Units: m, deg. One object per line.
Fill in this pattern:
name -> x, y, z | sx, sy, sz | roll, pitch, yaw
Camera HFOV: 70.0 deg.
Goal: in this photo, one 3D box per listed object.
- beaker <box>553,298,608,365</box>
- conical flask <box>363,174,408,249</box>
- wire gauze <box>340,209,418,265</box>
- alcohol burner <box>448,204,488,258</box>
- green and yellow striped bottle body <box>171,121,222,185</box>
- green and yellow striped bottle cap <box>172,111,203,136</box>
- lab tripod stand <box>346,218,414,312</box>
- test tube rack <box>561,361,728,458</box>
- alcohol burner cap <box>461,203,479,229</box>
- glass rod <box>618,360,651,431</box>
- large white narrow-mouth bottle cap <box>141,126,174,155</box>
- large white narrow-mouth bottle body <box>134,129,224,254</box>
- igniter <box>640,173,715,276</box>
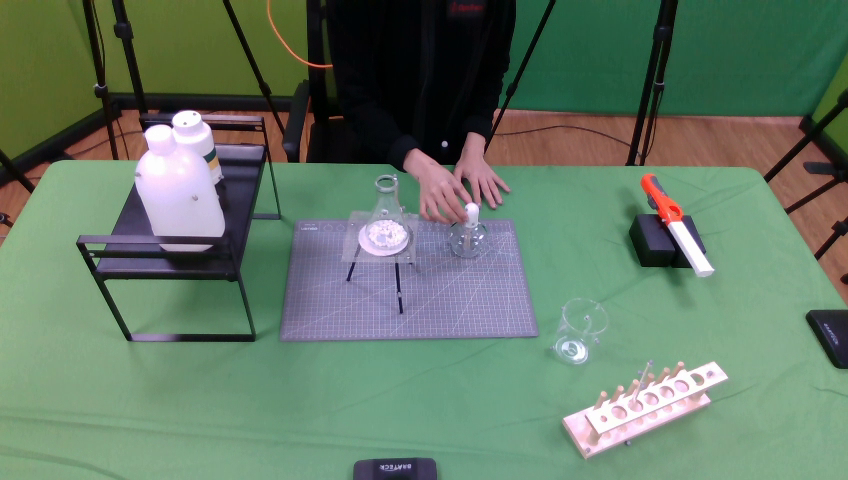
beaker -> 0.260, 0.154, 1.015 | 0.073, 0.101, 0.084 | 37, 54, 27
conical flask -> -0.063, -0.050, 0.985 | 0.075, 0.122, 0.075 | 2, 46, -1
wire gauze -> -0.074, -0.006, 1.024 | 0.121, 0.011, 0.124 | 2, 48, 1
alcohol burner -> 0.085, -0.023, 1.159 | 0.078, 0.120, 0.077 | 1, 47, -1
green and yellow striped bottle body -> -0.375, -0.149, 0.995 | 0.063, 0.120, 0.063 | 2, 46, -2
green and yellow striped bottle cap -> -0.374, -0.185, 0.958 | 0.045, 0.020, 0.045 | 4, 46, -4
lab tripod stand -> -0.070, 0.037, 1.075 | 0.148, 0.132, 0.147 | 1, 48, -1
test tube rack -> 0.341, 0.248, 0.940 | 0.243, 0.085, 0.066 | -15, 49, -18
alcohol burner cap -> 0.087, -0.047, 1.131 | 0.034, 0.048, 0.033 | 2, 50, -2
glass rod -> 0.298, 0.227, 0.865 | 0.008, 0.201, 0.008 | -1, 47, 2
large white narrow-mouth bottle cap -> -0.356, -0.133, 0.811 | 0.038, 0.024, 0.037 | 2, 48, -2
large white narrow-mouth bottle body -> -0.358, -0.075, 0.875 | 0.102, 0.195, 0.101 | 1, 48, -1
igniter -> 0.495, -0.039, 1.204 | 0.057, 0.025, 0.274 | -2, 47, -12
